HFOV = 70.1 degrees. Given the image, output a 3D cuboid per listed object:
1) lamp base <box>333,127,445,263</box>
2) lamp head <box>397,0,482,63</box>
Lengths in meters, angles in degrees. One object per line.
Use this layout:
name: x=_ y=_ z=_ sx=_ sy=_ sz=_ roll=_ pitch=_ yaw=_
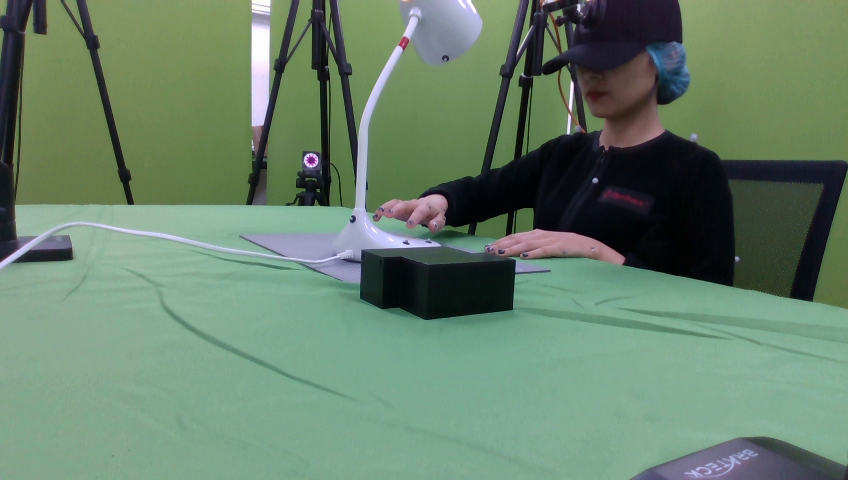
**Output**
lamp base: x=-0.054 y=-0.064 z=0.842 sx=0.160 sy=0.180 sz=0.180 roll=6 pitch=10 yaw=30
lamp head: x=0.011 y=-0.341 z=0.899 sx=0.112 sy=0.112 sz=0.123 roll=7 pitch=-21 yaw=37
